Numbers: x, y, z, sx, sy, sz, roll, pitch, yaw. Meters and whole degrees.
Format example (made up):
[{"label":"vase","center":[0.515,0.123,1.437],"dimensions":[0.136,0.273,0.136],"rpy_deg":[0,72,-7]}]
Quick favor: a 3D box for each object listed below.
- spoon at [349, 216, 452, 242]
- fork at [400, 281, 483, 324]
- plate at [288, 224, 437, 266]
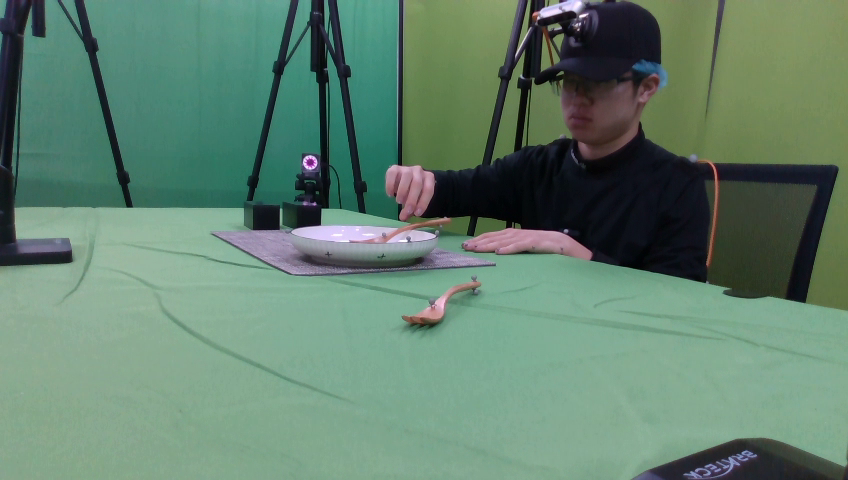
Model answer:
[{"label":"spoon","center":[-0.030,-0.015,0.924],"dimensions":[0.195,0.021,0.041],"rpy_deg":[-19,18,-36]},{"label":"fork","center":[0.025,0.057,0.590],"dimensions":[0.028,0.018,0.208],"rpy_deg":[-2,7,21]},{"label":"plate","center":[-0.086,0.007,0.852],"dimensions":[0.208,0.039,0.207],"rpy_deg":[2,7,0]}]
